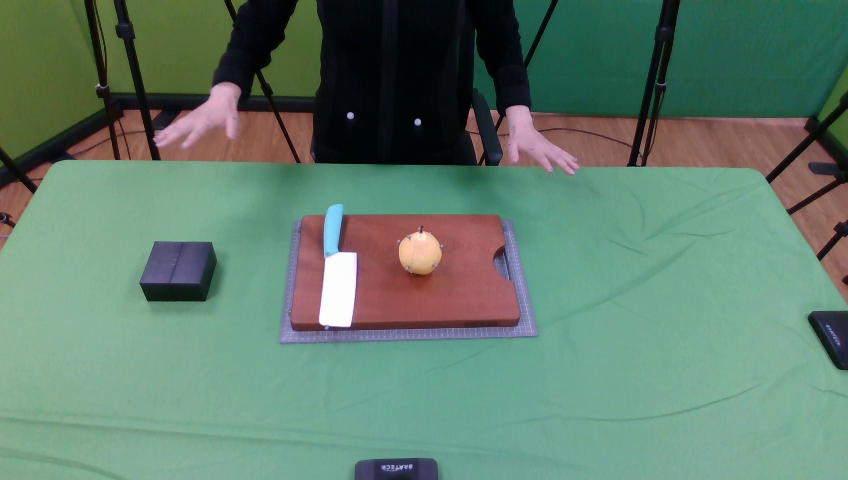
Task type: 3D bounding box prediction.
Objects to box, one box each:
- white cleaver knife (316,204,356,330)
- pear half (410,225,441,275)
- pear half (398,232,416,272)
[{"bbox_3d":[-0.158,0.043,1.111,0.066,0.021,0.284,3,51,-9],"label":"white cleaver knife"},{"bbox_3d":[0.004,0.013,1.085,0.056,0.110,0.076,1,51,-3],"label":"pear half"},{"bbox_3d":[-0.031,0.017,1.092,0.031,0.088,0.070,1,51,-2],"label":"pear half"}]
